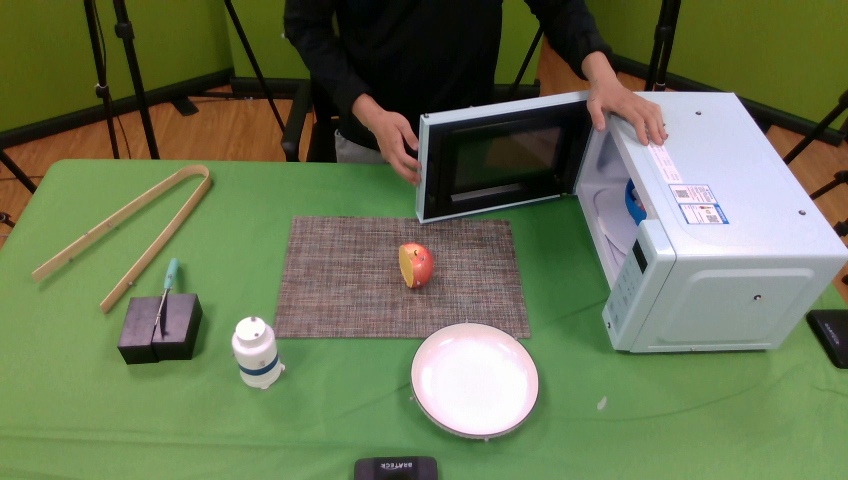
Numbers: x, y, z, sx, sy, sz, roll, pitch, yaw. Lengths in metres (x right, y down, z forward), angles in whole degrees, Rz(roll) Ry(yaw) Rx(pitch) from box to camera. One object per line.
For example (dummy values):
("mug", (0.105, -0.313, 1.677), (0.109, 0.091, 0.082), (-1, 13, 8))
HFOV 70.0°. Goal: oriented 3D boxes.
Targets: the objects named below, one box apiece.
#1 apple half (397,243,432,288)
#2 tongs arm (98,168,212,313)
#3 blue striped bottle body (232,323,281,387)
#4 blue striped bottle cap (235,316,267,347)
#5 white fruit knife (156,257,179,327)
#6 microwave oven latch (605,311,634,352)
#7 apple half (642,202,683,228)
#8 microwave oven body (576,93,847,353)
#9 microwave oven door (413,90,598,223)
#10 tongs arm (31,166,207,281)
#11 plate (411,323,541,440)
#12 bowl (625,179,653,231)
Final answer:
("apple half", (-0.013, 0.047, 1.115), (0.053, 0.075, 0.080), (-10, 43, -21))
("tongs arm", (-0.503, -0.012, 1.167), (0.028, 0.028, 0.385), (11, 46, 11))
("blue striped bottle body", (-0.262, 0.171, 0.944), (0.063, 0.121, 0.062), (2, 46, -2))
("blue striped bottle cap", (-0.259, 0.136, 0.907), (0.044, 0.021, 0.044), (2, 43, -2))
("white fruit knife", (-0.440, 0.085, 1.037), (0.016, 0.027, 0.206), (10, 26, -19))
("microwave oven latch", (0.334, 0.154, 1.043), (0.030, 0.029, 0.078), (2, 45, -1))
("apple half", (0.459, -0.055, 1.160), (0.081, 0.033, 0.081), (0, 31, 0))
("microwave oven body", (0.475, -0.041, 1.110), (0.326, 0.261, 0.438), (-1, 45, -4))
("microwave oven door", (0.157, -0.163, 1.197), (0.356, 0.245, 0.039), (-11, 48, -15))
("tongs arm", (-0.578, -0.040, 1.184), (0.050, 0.026, 0.384), (23, 48, 17))
("plate", (0.082, 0.228, 0.976), (0.208, 0.039, 0.206), (2, 45, -2))
("bowl", (0.453, -0.048, 1.171), (0.151, 0.077, 0.150), (7, 35, -5))
